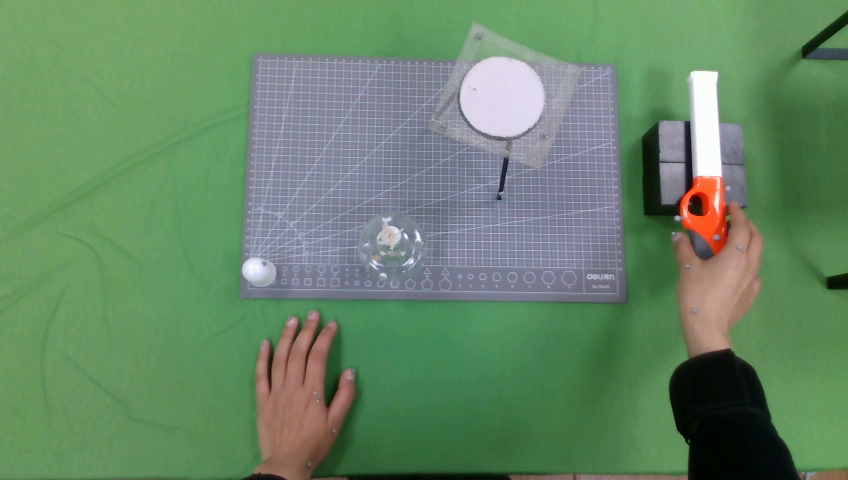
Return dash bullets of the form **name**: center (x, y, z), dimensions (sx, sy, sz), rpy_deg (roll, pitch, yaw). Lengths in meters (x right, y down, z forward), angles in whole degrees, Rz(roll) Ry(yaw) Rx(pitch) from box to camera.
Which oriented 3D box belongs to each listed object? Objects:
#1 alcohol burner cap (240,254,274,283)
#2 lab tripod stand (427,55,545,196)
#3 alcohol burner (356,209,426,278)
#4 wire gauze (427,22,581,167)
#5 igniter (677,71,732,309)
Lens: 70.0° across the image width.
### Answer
- **alcohol burner cap**: center (-0.189, 0.030, 0.677), dimensions (0.034, 0.048, 0.033), rpy_deg (1, 80, -3)
- **lab tripod stand**: center (0.077, -0.137, 0.673), dimensions (0.148, 0.132, 0.147), rpy_deg (1, 78, -2)
- **alcohol burner**: center (-0.036, 0.001, 0.654), dimensions (0.078, 0.119, 0.077), rpy_deg (0, 81, -3)
- **wire gauze**: center (0.082, -0.146, 0.607), dimensions (0.121, 0.011, 0.124), rpy_deg (23, 79, 1)
- **igniter**: center (0.314, -0.060, 0.681), dimensions (0.057, 0.025, 0.275), rpy_deg (3, 79, 4)
